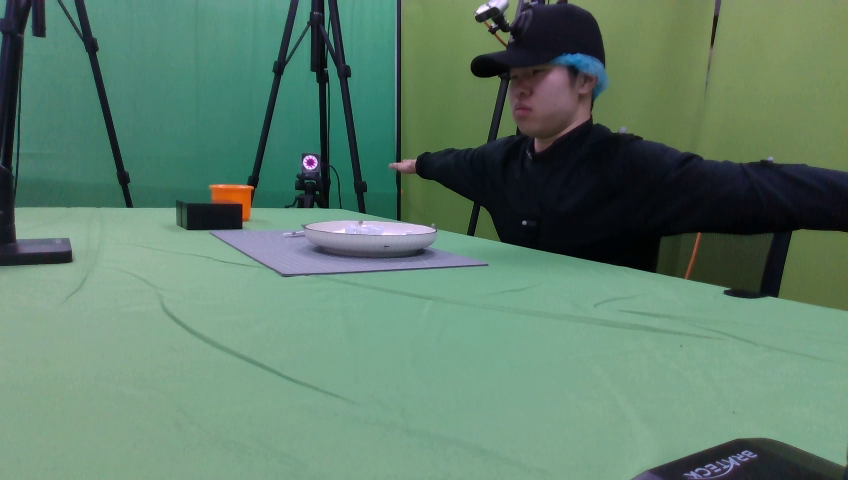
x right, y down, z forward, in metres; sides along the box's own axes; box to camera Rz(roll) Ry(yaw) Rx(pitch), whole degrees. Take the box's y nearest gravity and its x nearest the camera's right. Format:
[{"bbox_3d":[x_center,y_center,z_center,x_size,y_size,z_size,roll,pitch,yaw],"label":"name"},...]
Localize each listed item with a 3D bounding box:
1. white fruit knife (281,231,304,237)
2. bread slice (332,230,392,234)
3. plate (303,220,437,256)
[{"bbox_3d":[-0.178,-0.017,1.131,0.208,0.016,0.027,-8,-17,-47],"label":"white fruit knife"},{"bbox_3d":[-0.088,-0.001,0.947,0.105,0.019,0.131,-5,11,-45],"label":"bread slice"},{"bbox_3d":[-0.084,-0.003,0.951,0.209,0.038,0.209,2,7,0],"label":"plate"}]
